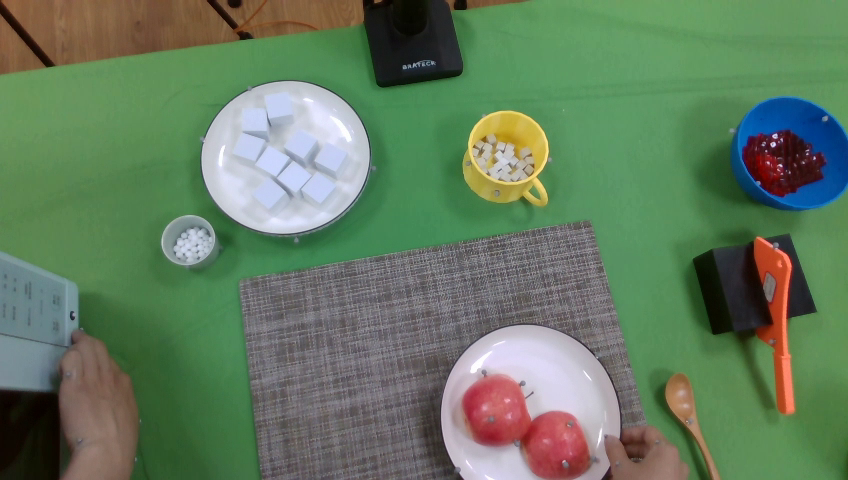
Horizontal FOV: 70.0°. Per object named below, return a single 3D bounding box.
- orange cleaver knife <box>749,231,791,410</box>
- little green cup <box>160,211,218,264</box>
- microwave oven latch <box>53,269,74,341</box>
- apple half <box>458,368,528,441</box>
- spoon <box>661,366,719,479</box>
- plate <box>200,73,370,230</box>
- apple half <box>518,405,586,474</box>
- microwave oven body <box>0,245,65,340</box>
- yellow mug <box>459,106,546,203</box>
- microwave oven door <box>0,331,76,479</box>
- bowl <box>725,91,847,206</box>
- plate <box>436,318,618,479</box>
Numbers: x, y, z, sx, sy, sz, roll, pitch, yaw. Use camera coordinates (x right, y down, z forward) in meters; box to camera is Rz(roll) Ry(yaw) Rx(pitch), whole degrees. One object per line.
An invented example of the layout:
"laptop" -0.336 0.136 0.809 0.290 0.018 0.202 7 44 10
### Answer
"orange cleaver knife" 0.412 0.096 0.725 0.012 0.077 0.212 -9 100 -2
"little green cup" -0.279 -0.001 0.728 0.061 0.039 0.061 1 76 -4
"microwave oven latch" -0.413 0.074 0.683 0.030 0.029 0.078 -6 77 -6
"apple half" 0.078 0.186 0.684 0.075 0.053 0.080 -13 77 -4
"spoon" 0.323 0.243 0.712 0.042 0.021 0.192 -12 76 -28
"plate" -0.172 -0.109 0.764 0.208 0.039 0.206 1 76 -3
"apple half" 0.147 0.228 0.687 0.081 0.033 0.081 1 72 -2
"microwave oven body" -0.532 0.235 0.534 0.326 0.261 0.439 -7 77 -6
"yellow mug" 0.108 -0.099 0.765 0.100 0.064 0.130 -38 82 -12
"microwave oven door" -0.381 0.258 0.533 0.039 0.245 0.354 -7 76 -5
"bowl" 0.451 -0.107 0.781 0.151 0.077 0.150 1 76 -3
"plate" 0.115 0.195 0.700 0.209 0.038 0.208 1 76 -3
